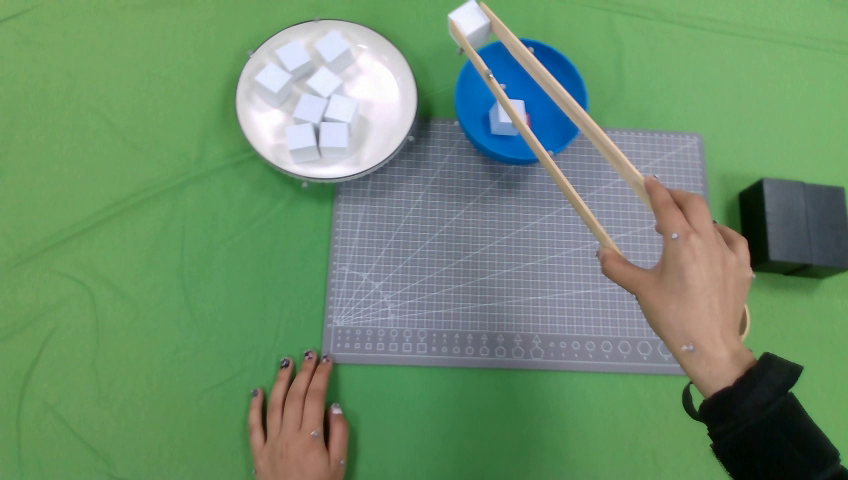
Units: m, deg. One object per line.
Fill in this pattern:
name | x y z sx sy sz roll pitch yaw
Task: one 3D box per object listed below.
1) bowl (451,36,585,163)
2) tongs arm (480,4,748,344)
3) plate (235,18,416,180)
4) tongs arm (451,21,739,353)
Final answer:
bowl | 0.102 -0.149 0.705 0.151 0.077 0.150 1 74 -5
tongs arm | 0.158 -0.075 0.544 0.028 0.028 0.385 -31 72 -11
plate | -0.113 -0.163 0.713 0.208 0.039 0.206 1 74 -3
tongs arm | 0.138 -0.062 0.542 0.051 0.027 0.382 -28 72 -6
